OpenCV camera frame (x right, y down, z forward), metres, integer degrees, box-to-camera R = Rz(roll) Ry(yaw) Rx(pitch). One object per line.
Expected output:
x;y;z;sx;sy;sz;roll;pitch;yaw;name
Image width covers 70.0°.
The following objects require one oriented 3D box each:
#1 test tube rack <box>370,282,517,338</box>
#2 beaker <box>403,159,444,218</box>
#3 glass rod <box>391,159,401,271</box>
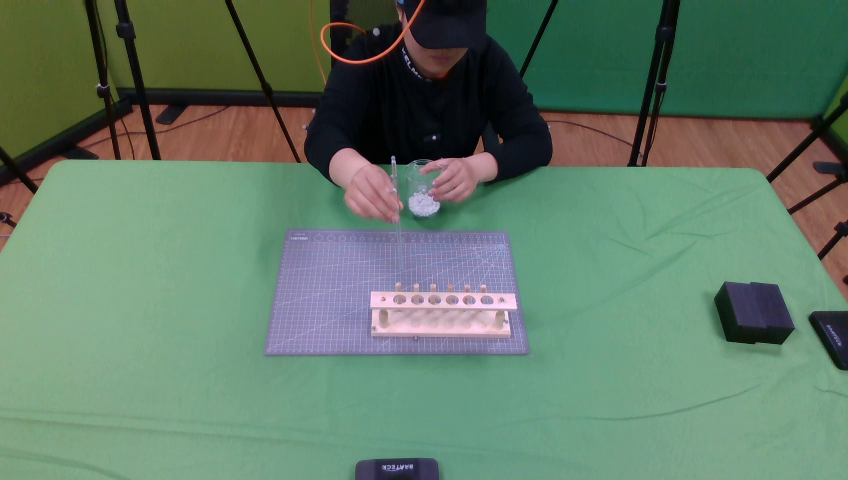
0.030;0.117;1.041;0.242;0.085;0.066;1;46;-3;test tube rack
0.000;-0.103;1.226;0.084;0.101;0.073;-15;47;-13;beaker
-0.044;-0.034;0.946;0.008;0.200;0.008;-1;32;1;glass rod
